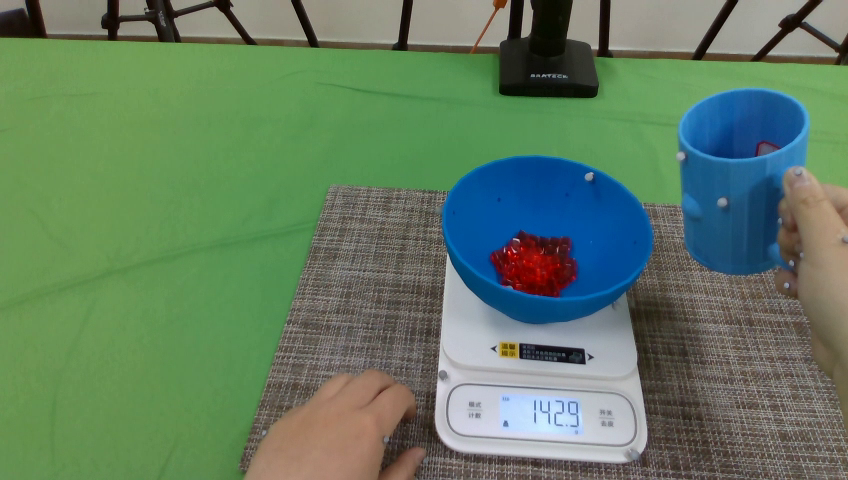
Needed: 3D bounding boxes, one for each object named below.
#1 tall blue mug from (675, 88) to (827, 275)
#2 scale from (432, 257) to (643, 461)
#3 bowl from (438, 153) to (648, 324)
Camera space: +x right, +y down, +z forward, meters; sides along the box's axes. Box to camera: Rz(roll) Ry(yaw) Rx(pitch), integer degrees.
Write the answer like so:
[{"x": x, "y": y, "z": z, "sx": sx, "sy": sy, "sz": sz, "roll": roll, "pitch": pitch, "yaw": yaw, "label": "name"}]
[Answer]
[{"x": 0.228, "y": -0.034, "z": 0.414, "sx": 0.106, "sy": 0.109, "sz": 0.077, "roll": 26, "pitch": 61, "yaw": 41, "label": "tall blue mug"}, {"x": 0.086, "y": 0.070, "z": 0.477, "sx": 0.148, "sy": 0.032, "sz": 0.199, "roll": 3, "pitch": 47, "yaw": 4, "label": "scale"}, {"x": 0.084, "y": 0.011, "z": 0.460, "sx": 0.151, "sy": 0.077, "sz": 0.150, "roll": 1, "pitch": 46, "yaw": 0, "label": "bowl"}]
